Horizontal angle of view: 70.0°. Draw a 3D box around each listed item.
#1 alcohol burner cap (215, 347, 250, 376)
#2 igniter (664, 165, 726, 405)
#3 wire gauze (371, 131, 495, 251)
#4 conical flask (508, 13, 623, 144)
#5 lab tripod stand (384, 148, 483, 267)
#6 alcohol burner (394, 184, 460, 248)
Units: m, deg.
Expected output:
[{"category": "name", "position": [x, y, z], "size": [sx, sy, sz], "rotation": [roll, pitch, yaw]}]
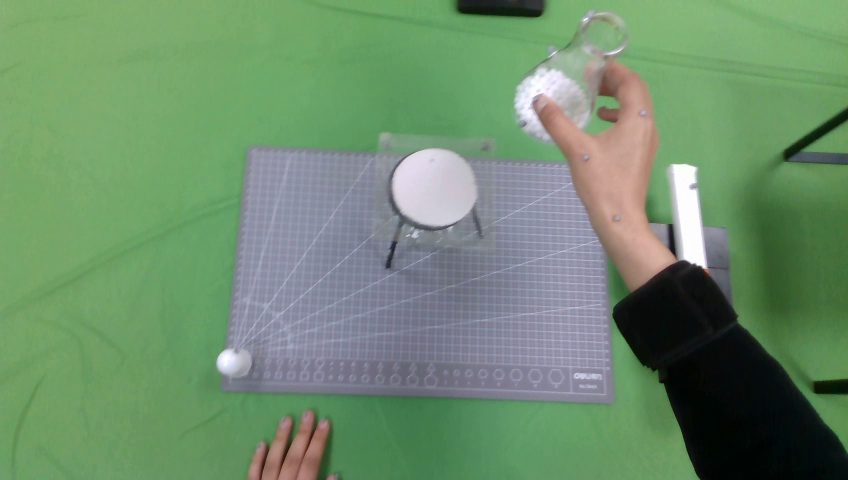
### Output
[{"category": "alcohol burner cap", "position": [-0.214, 0.133, 0.669], "size": [0.034, 0.048, 0.033], "rotation": [1, 73, -4]}, {"category": "igniter", "position": [0.306, 0.045, 0.689], "size": [0.057, 0.025, 0.275], "rotation": [2, 73, -7]}, {"category": "wire gauze", "position": [0.011, -0.053, 0.615], "size": [0.125, 0.011, 0.121], "rotation": [5, 75, -2]}, {"category": "conical flask", "position": [0.119, -0.133, 0.494], "size": [0.075, 0.122, 0.075], "rotation": [2, 76, -8]}, {"category": "lab tripod stand", "position": [0.001, -0.040, 0.680], "size": [0.148, 0.132, 0.147], "rotation": [1, 75, -2]}, {"category": "alcohol burner", "position": [0.004, -0.033, 0.689], "size": [0.078, 0.119, 0.077], "rotation": [1, 76, -2]}]
